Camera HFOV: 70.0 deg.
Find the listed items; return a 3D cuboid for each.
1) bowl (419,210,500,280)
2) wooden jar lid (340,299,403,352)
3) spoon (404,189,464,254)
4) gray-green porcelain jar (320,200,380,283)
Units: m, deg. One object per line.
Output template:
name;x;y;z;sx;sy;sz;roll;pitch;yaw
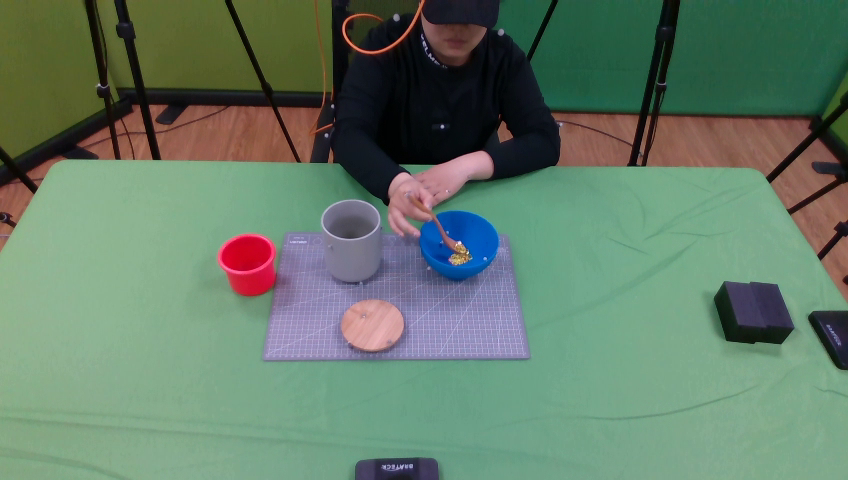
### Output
bowl;0.062;0.022;1.140;0.151;0.077;0.150;2;46;-2
wooden jar lid;-0.090;0.150;1.046;0.108;0.021;0.107;3;47;-3
spoon;0.019;-0.032;1.081;0.021;0.195;0.041;-32;42;8
gray-green porcelain jar;-0.132;0.007;1.106;0.106;0.127;0.105;2;46;-2
